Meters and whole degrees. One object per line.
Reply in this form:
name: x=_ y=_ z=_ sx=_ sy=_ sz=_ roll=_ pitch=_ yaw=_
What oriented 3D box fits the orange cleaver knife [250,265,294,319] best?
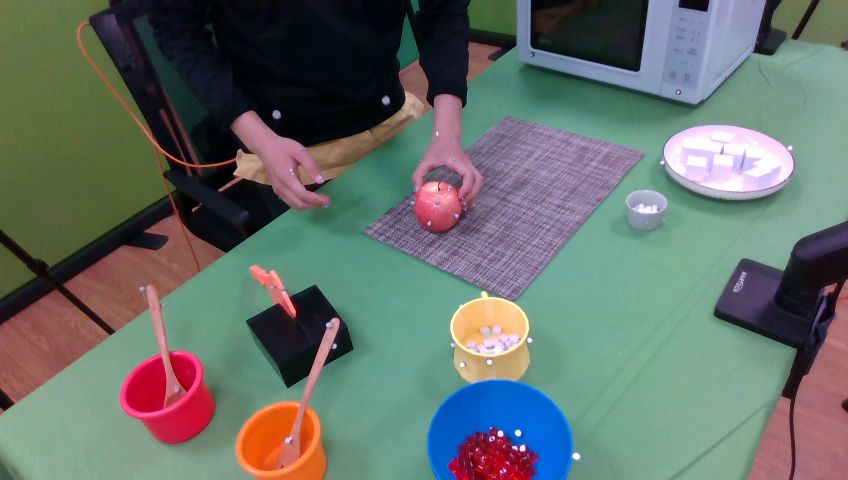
orange cleaver knife: x=-0.221 y=0.073 z=0.876 sx=0.012 sy=0.077 sz=0.210 roll=-24 pitch=12 yaw=-22

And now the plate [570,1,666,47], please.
plate: x=0.437 y=-0.485 z=1.370 sx=0.209 sy=0.038 sz=0.208 roll=-4 pitch=41 yaw=4

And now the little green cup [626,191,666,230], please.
little green cup: x=0.352 y=-0.046 z=0.963 sx=0.061 sy=0.039 sz=0.061 roll=-4 pitch=40 yaw=4

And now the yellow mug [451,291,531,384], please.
yellow mug: x=0.085 y=0.120 z=0.786 sx=0.100 sy=0.064 sz=0.130 roll=-7 pitch=39 yaw=1

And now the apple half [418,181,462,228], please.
apple half: x=0.032 y=-0.062 z=0.997 sx=0.080 sy=0.075 sz=0.053 roll=25 pitch=46 yaw=38

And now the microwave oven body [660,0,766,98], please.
microwave oven body: x=0.472 y=-0.513 z=1.317 sx=0.438 sy=0.261 sz=0.327 roll=26 pitch=51 yaw=34

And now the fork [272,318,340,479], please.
fork: x=-0.131 y=0.186 z=0.676 sx=0.028 sy=0.019 sz=0.207 roll=18 pitch=90 yaw=28

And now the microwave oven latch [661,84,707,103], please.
microwave oven latch: x=0.517 y=-0.296 z=1.204 sx=0.078 sy=0.029 sz=0.030 roll=26 pitch=51 yaw=34

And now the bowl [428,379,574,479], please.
bowl: x=0.082 y=0.233 z=0.644 sx=0.151 sy=0.077 sz=0.150 roll=-4 pitch=39 yaw=4

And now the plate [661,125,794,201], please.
plate: x=0.513 y=-0.128 z=1.035 sx=0.207 sy=0.039 sz=0.206 roll=-4 pitch=40 yaw=4

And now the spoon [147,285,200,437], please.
spoon: x=-0.318 y=0.148 z=0.754 sx=0.042 sy=0.021 sz=0.193 roll=-15 pitch=85 yaw=-10

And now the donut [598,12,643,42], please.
donut: x=0.437 y=-0.475 z=1.346 sx=0.099 sy=0.048 sz=0.098 roll=-16 pitch=24 yaw=8

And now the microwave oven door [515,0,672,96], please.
microwave oven door: x=0.343 y=-0.454 z=1.259 sx=0.353 sy=0.245 sz=0.039 roll=26 pitch=51 yaw=33

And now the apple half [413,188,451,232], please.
apple half: x=0.006 y=-0.041 z=0.975 sx=0.080 sy=0.081 sz=0.033 roll=27 pitch=47 yaw=34
